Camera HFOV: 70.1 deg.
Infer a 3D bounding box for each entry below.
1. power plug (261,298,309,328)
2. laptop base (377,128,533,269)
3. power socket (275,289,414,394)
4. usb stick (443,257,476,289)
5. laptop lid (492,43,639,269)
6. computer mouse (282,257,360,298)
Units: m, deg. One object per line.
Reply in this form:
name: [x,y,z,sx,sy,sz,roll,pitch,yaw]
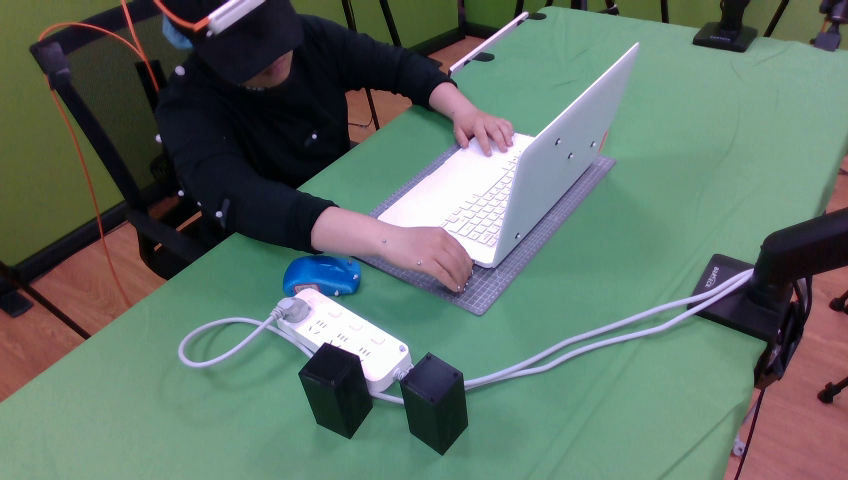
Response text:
power plug: [-0.193,0.108,0.830,0.073,0.053,0.035,-32,43,-27]
laptop base: [0.115,-0.088,1.059,0.233,0.023,0.355,20,47,33]
power socket: [-0.115,0.133,0.820,0.225,0.033,0.072,25,49,32]
usb stick: [0.055,0.045,0.896,0.021,0.027,0.059,20,43,36]
laptop lid: [0.217,-0.129,0.912,0.013,0.242,0.358,32,51,21]
computer mouse: [-0.156,0.055,0.917,0.117,0.041,0.062,-1,37,2]
